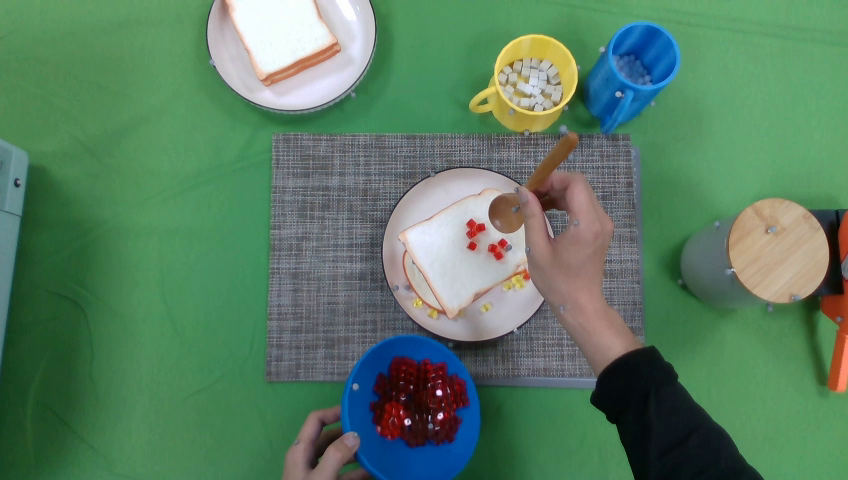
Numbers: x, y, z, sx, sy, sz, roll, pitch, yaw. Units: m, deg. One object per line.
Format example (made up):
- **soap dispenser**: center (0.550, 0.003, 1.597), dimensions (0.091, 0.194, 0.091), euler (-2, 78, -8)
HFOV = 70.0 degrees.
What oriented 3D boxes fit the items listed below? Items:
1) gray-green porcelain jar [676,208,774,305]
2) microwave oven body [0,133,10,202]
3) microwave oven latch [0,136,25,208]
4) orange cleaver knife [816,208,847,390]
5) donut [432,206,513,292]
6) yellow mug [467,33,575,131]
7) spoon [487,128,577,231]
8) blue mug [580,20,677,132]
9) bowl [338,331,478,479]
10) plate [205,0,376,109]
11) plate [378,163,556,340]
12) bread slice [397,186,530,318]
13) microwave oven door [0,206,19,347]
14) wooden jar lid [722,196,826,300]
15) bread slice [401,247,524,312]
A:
- **gray-green porcelain jar**: center (0.357, 0.020, 0.687), dimensions (0.106, 0.127, 0.105), euler (0, 81, -2)
- **microwave oven body**: center (-0.639, 0.074, 0.575), dimensions (0.326, 0.260, 0.440), euler (3, 82, -2)
- **microwave oven latch**: center (-0.486, -0.079, 0.699), dimensions (0.030, 0.029, 0.079), euler (6, 82, -1)
- **orange cleaver knife**: center (0.484, 0.071, 0.705), dimensions (0.012, 0.076, 0.212), euler (-1, 108, -1)
- **donut**: center (0.057, 0.010, 0.692), dimensions (0.099, 0.048, 0.098), euler (4, 80, -19)
- **yellow mug**: center (0.114, -0.186, 0.740), dimensions (0.131, 0.064, 0.099), euler (-20, 82, -3)
- **spoon**: center (0.096, -0.050, 0.553), dimensions (0.021, 0.194, 0.041), euler (-38, 83, -17)
- **blue mug**: center (0.236, -0.185, 0.724), dimensions (0.082, 0.106, 0.116), euler (21, 82, 2)
- **bowl**: center (-0.027, 0.177, 0.628), dimensions (0.152, 0.077, 0.150), euler (13, 62, -25)
- **plate**: center (-0.163, -0.259, 0.756), dimensions (0.208, 0.039, 0.207), euler (0, 82, -2)
- **plate**: center (0.050, 0.014, 0.719), dimensions (0.209, 0.038, 0.208), euler (0, 82, -2)
- **bread slice**: center (0.049, 0.003, 0.660), dimensions (0.134, 0.018, 0.107), euler (-34, 91, -15)
- **microwave oven door**: center (-0.494, 0.122, 0.568), dimensions (0.039, 0.244, 0.354), euler (2, 81, -1)
- **wooden jar lid**: center (0.358, 0.009, 0.625), dimensions (0.108, 0.021, 0.108), euler (0, 84, -4)
- **bread slice**: center (0.041, 0.023, 0.721), dimensions (0.131, 0.019, 0.104), euler (-31, 82, -10)
